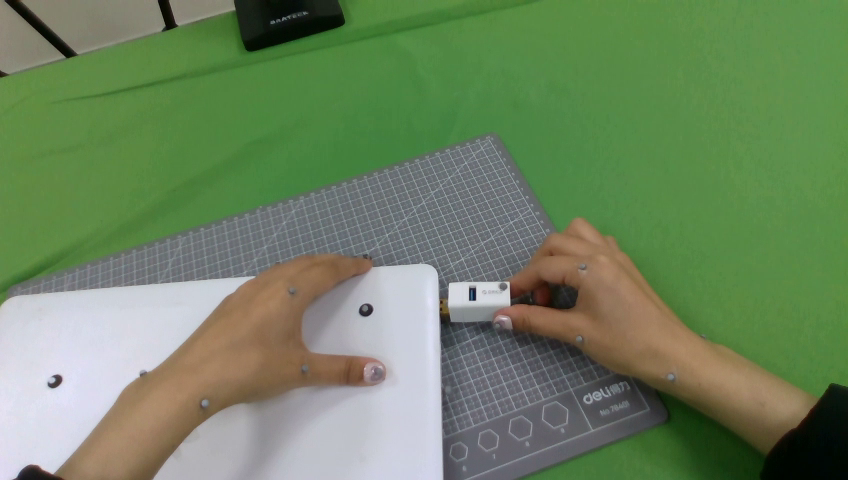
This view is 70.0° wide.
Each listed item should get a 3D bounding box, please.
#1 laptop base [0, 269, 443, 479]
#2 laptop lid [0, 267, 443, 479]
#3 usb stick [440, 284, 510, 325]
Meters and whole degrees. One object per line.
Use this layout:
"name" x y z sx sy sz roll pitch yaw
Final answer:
"laptop base" -0.162 0.133 0.416 0.354 0.023 0.233 -5 56 5
"laptop lid" -0.163 0.129 0.406 0.356 0.013 0.239 -3 55 6
"usb stick" 0.032 0.047 0.436 0.059 0.027 0.021 -4 53 10
